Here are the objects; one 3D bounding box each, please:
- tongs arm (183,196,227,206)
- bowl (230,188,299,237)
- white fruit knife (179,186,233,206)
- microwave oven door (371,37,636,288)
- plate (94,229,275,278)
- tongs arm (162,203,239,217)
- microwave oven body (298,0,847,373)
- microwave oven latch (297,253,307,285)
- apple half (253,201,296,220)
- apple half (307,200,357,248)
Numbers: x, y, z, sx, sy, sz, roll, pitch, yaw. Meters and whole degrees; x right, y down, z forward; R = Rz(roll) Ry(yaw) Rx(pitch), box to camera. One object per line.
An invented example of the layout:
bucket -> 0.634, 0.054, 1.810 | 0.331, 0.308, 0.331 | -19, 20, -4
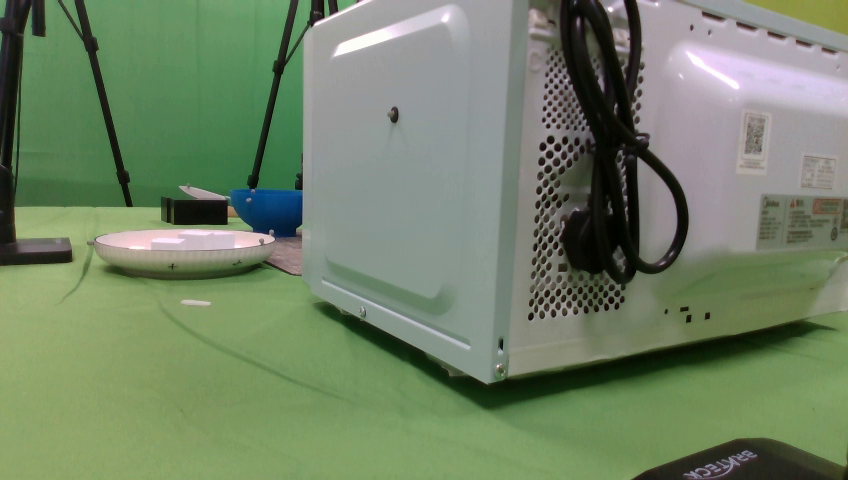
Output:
tongs arm -> -0.404, -0.081, 1.479 | 0.385, 0.026, 0.050 | 3, 8, -2
bowl -> -0.264, -0.048, 1.065 | 0.151, 0.077, 0.151 | 3, 8, 0
white fruit knife -> -0.413, -0.081, 1.270 | 0.208, 0.027, 0.016 | 17, 13, -41
microwave oven door -> 0.109, -0.080, 0.686 | 0.358, 0.243, 0.039 | -2, 9, -33
plate -> -0.291, 0.016, 0.750 | 0.208, 0.039, 0.207 | 2, 7, 0
tongs arm -> -0.396, -0.066, 1.399 | 0.389, 0.028, 0.028 | 1, 5, -15
microwave oven body -> 0.151, -0.055, 0.543 | 0.444, 0.260, 0.324 | -1, 7, -33
microwave oven latch -> -0.082, 0.027, 0.582 | 0.079, 0.029, 0.030 | -1, 7, -33
apple half -> -0.264, -0.053, 1.067 | 0.081, 0.033, 0.081 | 1, 8, 0
apple half -> -0.135, -0.024, 0.941 | 0.053, 0.074, 0.081 | 13, 8, 39
